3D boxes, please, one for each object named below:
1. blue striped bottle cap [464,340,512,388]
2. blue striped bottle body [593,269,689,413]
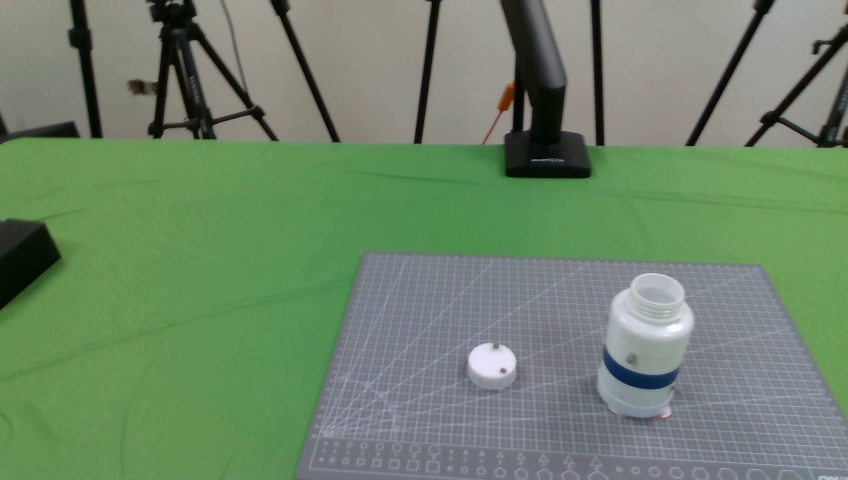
[{"bbox_3d":[0.059,0.113,0.556,0.044,0.021,0.044,0,35,0],"label":"blue striped bottle cap"},{"bbox_3d":[0.180,0.082,0.503,0.063,0.122,0.062,-1,37,1],"label":"blue striped bottle body"}]
